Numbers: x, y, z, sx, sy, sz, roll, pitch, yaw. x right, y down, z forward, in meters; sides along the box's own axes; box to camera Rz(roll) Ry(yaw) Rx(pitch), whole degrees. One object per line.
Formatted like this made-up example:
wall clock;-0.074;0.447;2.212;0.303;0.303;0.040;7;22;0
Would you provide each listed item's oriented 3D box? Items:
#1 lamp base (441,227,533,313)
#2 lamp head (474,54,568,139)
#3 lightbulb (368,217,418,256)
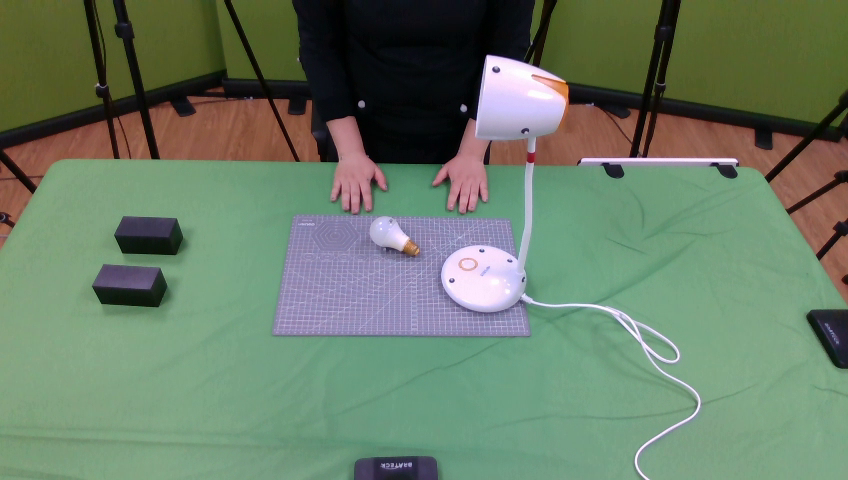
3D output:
lamp base;0.126;0.021;1.072;0.179;0.181;0.160;23;49;14
lamp head;0.130;-0.184;0.817;0.123;0.113;0.112;10;45;-3
lightbulb;-0.058;-0.002;1.173;0.107;0.060;0.059;33;50;5
